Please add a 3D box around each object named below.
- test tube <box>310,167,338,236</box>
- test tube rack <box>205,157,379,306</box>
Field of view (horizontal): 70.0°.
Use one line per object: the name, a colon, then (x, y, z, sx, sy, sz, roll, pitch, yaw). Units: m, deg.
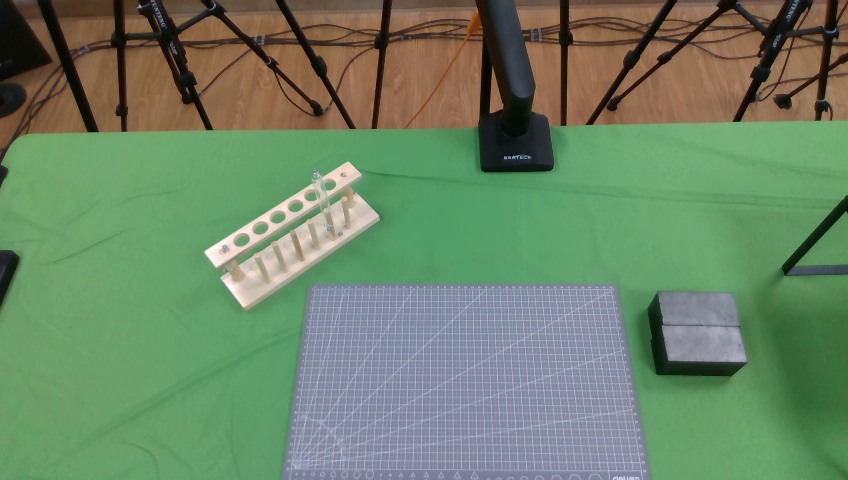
test tube: (-0.141, -0.052, 0.855, 0.017, 0.151, 0.017, -1, 57, 2)
test tube rack: (-0.185, -0.014, 0.885, 0.242, 0.086, 0.066, -36, 64, -19)
